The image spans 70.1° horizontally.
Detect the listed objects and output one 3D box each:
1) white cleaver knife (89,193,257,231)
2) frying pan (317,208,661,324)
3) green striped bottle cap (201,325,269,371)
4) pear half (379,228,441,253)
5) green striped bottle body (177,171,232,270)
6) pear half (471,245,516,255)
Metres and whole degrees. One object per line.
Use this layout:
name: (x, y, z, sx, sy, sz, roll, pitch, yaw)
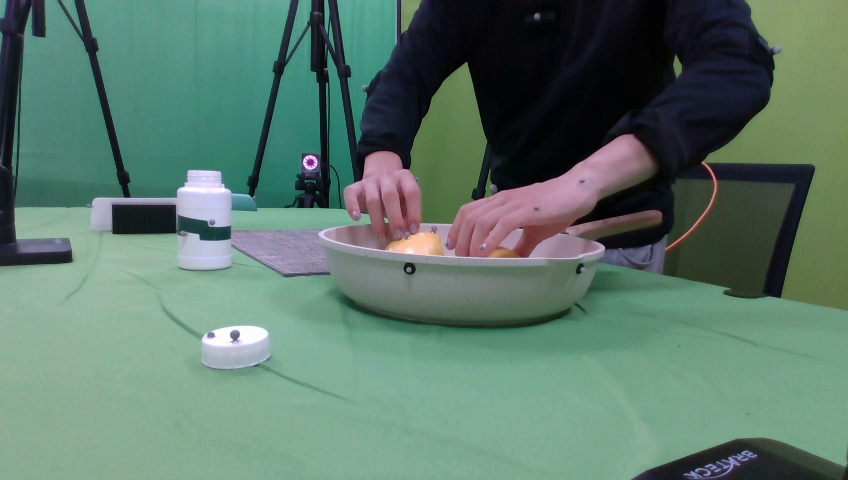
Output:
white cleaver knife: (-0.454, -0.052, 1.115, 0.288, 0.066, 0.021, -4, 14, -27)
frying pan: (0.121, 0.005, 0.691, 0.490, 0.102, 0.305, -12, 15, -33)
green striped bottle cap: (-0.129, 0.073, 0.415, 0.044, 0.020, 0.044, 3, 8, 0)
pear half: (-0.012, 0.008, 0.657, 0.070, 0.031, 0.088, 34, 53, 12)
green striped bottle body: (-0.273, -0.026, 0.752, 0.063, 0.119, 0.063, 2, 7, 0)
pear half: (0.070, 0.032, 0.653, 0.077, 0.056, 0.109, 7, 3, -23)
